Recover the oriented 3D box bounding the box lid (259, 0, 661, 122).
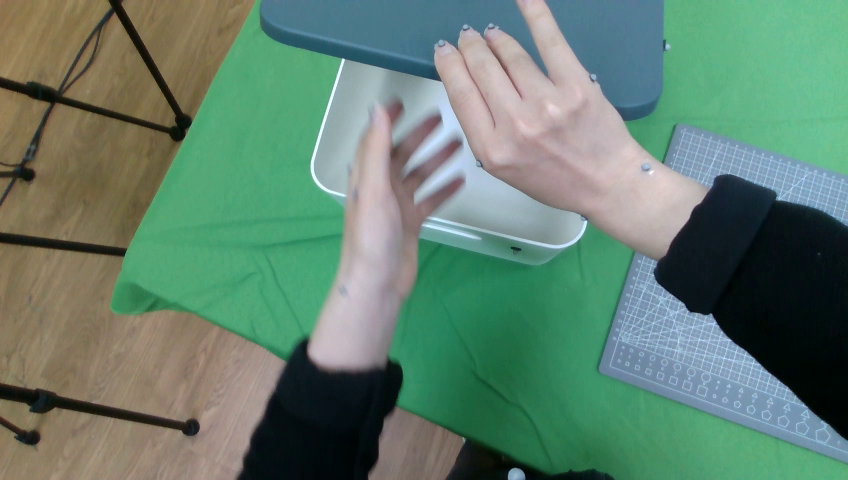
[{"bbox_3d":[0.057,-0.226,0.484,0.263,0.015,0.368,14,49,6],"label":"box lid"}]

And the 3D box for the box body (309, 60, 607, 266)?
[{"bbox_3d":[0.062,-0.172,0.641,0.254,0.161,0.363,14,80,6],"label":"box body"}]

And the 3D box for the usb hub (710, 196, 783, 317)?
[{"bbox_3d":[0.349,0.017,0.656,0.049,0.025,0.125,16,81,6],"label":"usb hub"}]
